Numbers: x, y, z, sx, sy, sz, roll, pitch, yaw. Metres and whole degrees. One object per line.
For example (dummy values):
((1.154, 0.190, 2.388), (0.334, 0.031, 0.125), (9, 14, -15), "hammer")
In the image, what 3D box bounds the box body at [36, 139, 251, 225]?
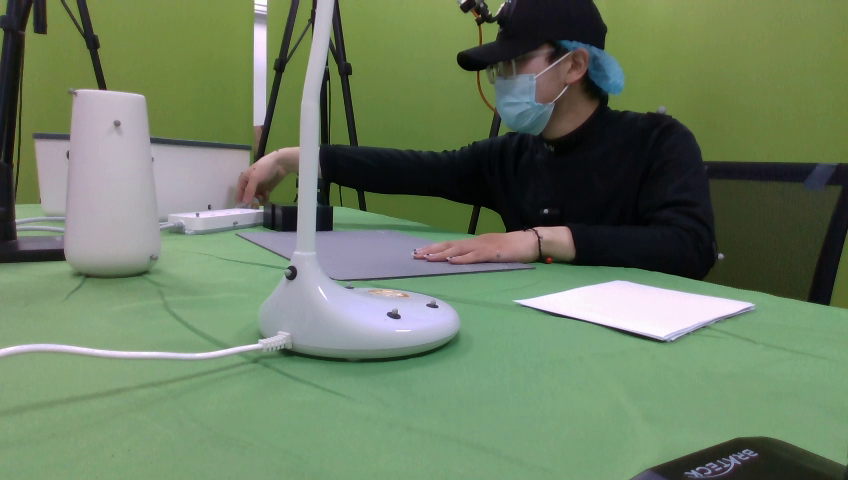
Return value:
((-0.559, -0.126, 1.257), (0.253, 0.160, 0.365), (4, 8, 15), "box body")

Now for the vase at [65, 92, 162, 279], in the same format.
((-0.348, -0.060, 0.673), (0.098, 0.200, 0.098), (1, 7, 0), "vase")

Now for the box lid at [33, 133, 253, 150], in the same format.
((-0.555, -0.199, 1.249), (0.263, 0.015, 0.372), (5, 8, 15), "box lid")

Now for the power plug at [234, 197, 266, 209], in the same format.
((-0.365, -0.062, 1.257), (0.052, 0.035, 0.072), (7, 43, 20), "power plug")

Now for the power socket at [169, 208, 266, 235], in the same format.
((-0.379, -0.038, 1.129), (0.072, 0.032, 0.227), (4, 8, 18), "power socket")

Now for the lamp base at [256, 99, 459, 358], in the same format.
((-0.055, -0.013, 0.463), (0.160, 0.180, 0.180), (6, 11, 27), "lamp base")
